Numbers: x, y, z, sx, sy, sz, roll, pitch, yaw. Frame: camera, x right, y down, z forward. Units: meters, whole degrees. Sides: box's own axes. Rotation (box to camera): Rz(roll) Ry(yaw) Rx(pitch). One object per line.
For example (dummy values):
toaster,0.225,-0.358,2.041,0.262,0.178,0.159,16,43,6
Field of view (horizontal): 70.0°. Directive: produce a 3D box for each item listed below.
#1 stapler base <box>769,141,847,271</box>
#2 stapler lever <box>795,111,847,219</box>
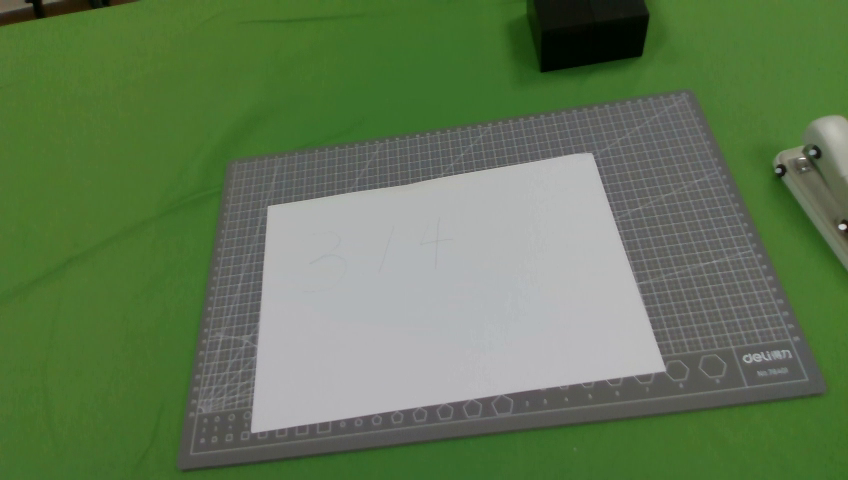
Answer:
stapler base,0.319,-0.033,0.469,0.041,0.025,0.129,-16,57,2
stapler lever,0.315,-0.045,0.447,0.027,0.040,0.117,-16,57,2
